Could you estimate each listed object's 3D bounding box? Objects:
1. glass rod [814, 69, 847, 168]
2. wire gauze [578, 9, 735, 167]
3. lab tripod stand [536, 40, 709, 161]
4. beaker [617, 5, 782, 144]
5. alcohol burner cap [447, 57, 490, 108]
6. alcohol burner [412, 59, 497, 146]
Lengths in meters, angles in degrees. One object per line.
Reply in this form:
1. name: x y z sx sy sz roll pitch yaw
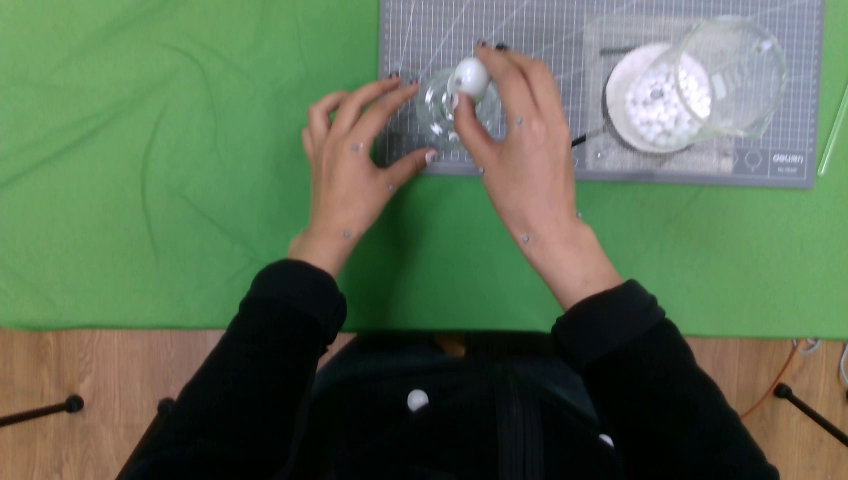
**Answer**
1. glass rod: 0.437 -0.170 0.622 0.008 0.008 0.199 18 92 -5
2. wire gauze: 0.182 -0.119 0.474 0.125 0.011 0.121 1 91 -2
3. lab tripod stand: 0.176 -0.119 0.539 0.148 0.131 0.148 0 92 -3
4. beaker: 0.188 -0.106 0.427 0.074 0.100 0.084 -31 93 -2
5. alcohol burner cap: 0.035 -0.122 0.463 0.034 0.048 0.034 0 92 -1
6. alcohol burner: 0.030 -0.125 0.537 0.078 0.119 0.078 0 90 -5
